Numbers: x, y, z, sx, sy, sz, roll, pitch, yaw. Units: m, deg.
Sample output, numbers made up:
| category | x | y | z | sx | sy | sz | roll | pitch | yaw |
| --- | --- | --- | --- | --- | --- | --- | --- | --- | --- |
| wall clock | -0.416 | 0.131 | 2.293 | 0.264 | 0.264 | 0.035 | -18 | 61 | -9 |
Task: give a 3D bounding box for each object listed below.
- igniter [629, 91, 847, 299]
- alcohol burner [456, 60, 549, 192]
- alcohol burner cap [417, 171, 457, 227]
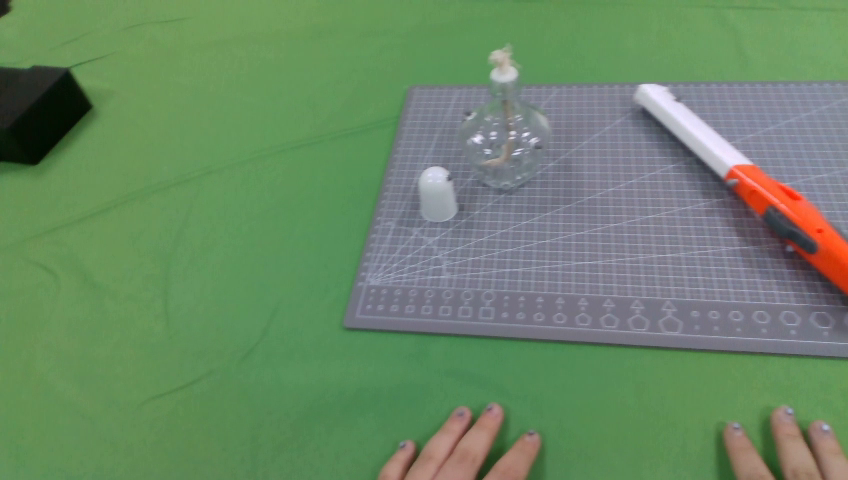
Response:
| category | x | y | z | sx | sy | sz | roll | pitch | yaw |
| --- | --- | --- | --- | --- | --- | --- | --- | --- | --- |
| igniter | 0.256 | -0.043 | 0.479 | 0.057 | 0.025 | 0.273 | -5 | 43 | -25 |
| alcohol burner | 0.065 | -0.097 | 0.501 | 0.078 | 0.120 | 0.077 | -3 | 50 | 4 |
| alcohol burner cap | 0.010 | -0.037 | 0.505 | 0.034 | 0.048 | 0.033 | -4 | 49 | 5 |
